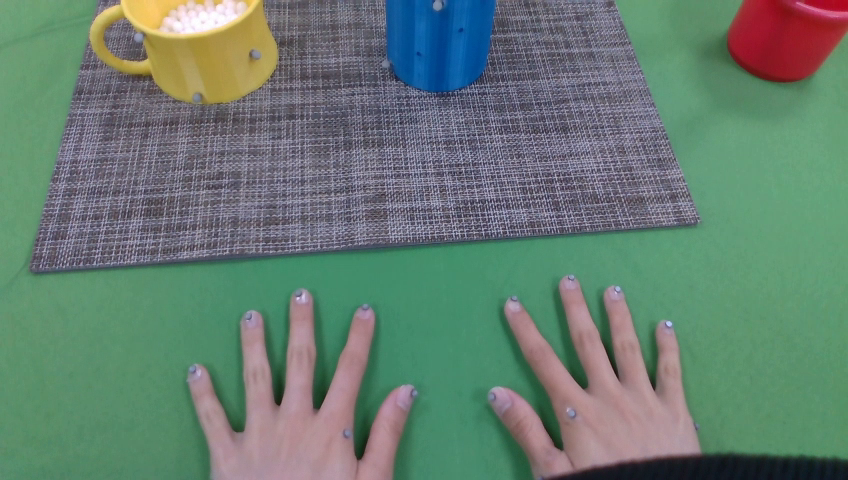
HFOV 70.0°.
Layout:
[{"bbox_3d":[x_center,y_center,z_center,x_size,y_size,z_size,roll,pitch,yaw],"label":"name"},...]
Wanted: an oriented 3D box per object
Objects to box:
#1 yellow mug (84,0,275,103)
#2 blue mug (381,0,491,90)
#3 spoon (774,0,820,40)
[{"bbox_3d":[-0.184,-0.158,0.455,0.131,0.064,0.099,-17,62,-12],"label":"yellow mug"},{"bbox_3d":[0.019,-0.191,0.461,0.082,0.106,0.116,35,63,17],"label":"blue mug"},{"bbox_3d":[0.273,-0.183,0.452,0.041,0.022,0.195,50,25,24],"label":"spoon"}]
